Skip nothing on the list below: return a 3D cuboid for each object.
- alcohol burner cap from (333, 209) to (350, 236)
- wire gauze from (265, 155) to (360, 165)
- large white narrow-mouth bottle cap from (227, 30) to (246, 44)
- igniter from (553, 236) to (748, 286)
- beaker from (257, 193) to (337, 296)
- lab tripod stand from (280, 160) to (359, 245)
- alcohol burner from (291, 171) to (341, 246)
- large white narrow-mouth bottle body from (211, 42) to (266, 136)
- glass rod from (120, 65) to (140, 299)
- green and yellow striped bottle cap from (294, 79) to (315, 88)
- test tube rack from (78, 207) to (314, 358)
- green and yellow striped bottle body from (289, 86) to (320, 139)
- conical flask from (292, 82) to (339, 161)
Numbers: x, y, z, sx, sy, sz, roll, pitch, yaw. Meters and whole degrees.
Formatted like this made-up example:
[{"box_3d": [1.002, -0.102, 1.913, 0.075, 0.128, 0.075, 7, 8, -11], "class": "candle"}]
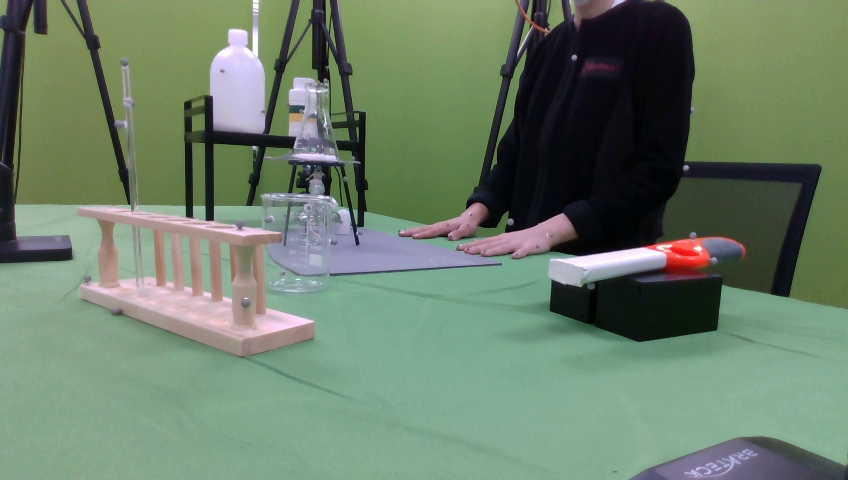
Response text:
[{"box_3d": [-0.151, -0.033, 1.116, 0.034, 0.048, 0.034, 3, 6, 0], "class": "alcohol burner cap"}, {"box_3d": [-0.181, -0.128, 0.969, 0.126, 0.011, 0.121, -3, 7, -26], "class": "wire gauze"}, {"box_3d": [-0.361, -0.389, 1.166, 0.038, 0.024, 0.037, 1, 7, 0], "class": "large white narrow-mouth bottle cap"}, {"box_3d": [0.221, 0.017, 0.559, 0.278, 0.025, 0.057, -4, 14, -39], "class": "igniter"}, {"box_3d": [-0.130, 0.004, 0.628, 0.084, 0.100, 0.074, 5, 8, 15], "class": "beaker"}, {"box_3d": [-0.176, -0.062, 0.973, 0.148, 0.131, 0.148, 1, 7, 0], "class": "lab tripod stand"}, {"box_3d": [-0.172, -0.050, 0.962, 0.078, 0.119, 0.078, 1, 6, 0], "class": "alcohol burner"}, {"box_3d": [-0.361, -0.302, 1.176, 0.102, 0.194, 0.102, 1, 7, 0], "class": "large white narrow-mouth bottle body"}, {"box_3d": [-0.249, -0.047, 0.513, 0.008, 0.199, 0.008, -1, 4, 0], "class": "glass rod"}, {"box_3d": [-0.248, -0.323, 1.256, 0.045, 0.020, 0.045, 3, 9, 0], "class": "green and yellow striped bottle cap"}, {"box_3d": [-0.196, 0.024, 0.500, 0.241, 0.085, 0.067, 8, 8, 37], "class": "test tube rack"}, {"box_3d": [-0.250, -0.272, 1.261, 0.063, 0.119, 0.063, 3, 7, 0], "class": "green and yellow striped bottle body"}, {"box_3d": [-0.171, -0.185, 0.957, 0.075, 0.122, 0.075, 2, 7, 0], "class": "conical flask"}]
